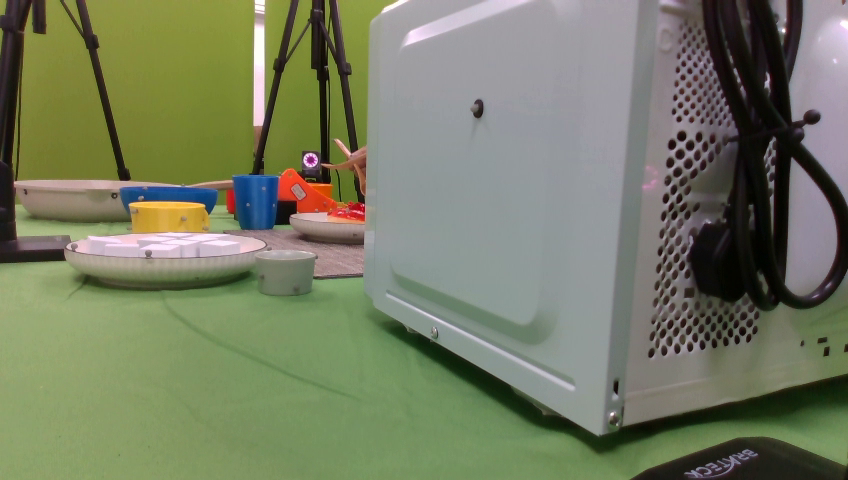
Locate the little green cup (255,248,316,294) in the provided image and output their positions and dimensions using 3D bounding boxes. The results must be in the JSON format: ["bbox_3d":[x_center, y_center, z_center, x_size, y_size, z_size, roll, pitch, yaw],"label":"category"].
[{"bbox_3d":[-0.144,0.032,0.627,0.061,0.038,0.061,4,7,0],"label":"little green cup"}]

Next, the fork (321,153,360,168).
[{"bbox_3d":[-0.091,-0.138,0.987,0.206,0.018,0.028,-8,-6,36],"label":"fork"}]

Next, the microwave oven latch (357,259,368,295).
[{"bbox_3d":[-0.019,0.031,0.529,0.079,0.029,0.030,-1,7,-26],"label":"microwave oven latch"}]

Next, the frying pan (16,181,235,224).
[{"bbox_3d":[-0.554,-0.097,1.266,0.490,0.102,0.305,-10,13,-24],"label":"frying pan"}]

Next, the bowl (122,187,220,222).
[{"bbox_3d":[-0.421,-0.046,1.012,0.151,0.077,0.151,2,7,0],"label":"bowl"}]

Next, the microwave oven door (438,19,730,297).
[{"bbox_3d":[0.181,-0.076,0.618,0.358,0.243,0.039,-2,8,-28],"label":"microwave oven door"}]

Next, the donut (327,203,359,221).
[{"bbox_3d":[-0.120,-0.038,1.055,0.099,0.048,0.099,5,7,0],"label":"donut"}]

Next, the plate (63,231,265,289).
[{"bbox_3d":[-0.288,0.021,0.687,0.208,0.039,0.207,2,8,0],"label":"plate"}]

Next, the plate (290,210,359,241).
[{"bbox_3d":[-0.127,-0.026,1.050,0.209,0.038,0.209,2,7,0],"label":"plate"}]

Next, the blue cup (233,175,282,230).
[{"bbox_3d":[-0.314,-0.071,1.141,0.093,0.100,0.092,0,7,0],"label":"blue cup"}]

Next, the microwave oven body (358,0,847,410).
[{"bbox_3d":[0.210,-0.051,0.471,0.444,0.260,0.324,-1,7,-28],"label":"microwave oven body"}]

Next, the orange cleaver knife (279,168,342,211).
[{"bbox_3d":[-0.236,-0.084,1.332,0.212,0.077,0.012,31,-9,-31],"label":"orange cleaver knife"}]

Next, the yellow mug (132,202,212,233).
[{"bbox_3d":[-0.356,-0.020,0.878,0.099,0.064,0.131,5,7,21],"label":"yellow mug"}]

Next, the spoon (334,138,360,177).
[{"bbox_3d":[-0.139,-0.152,1.249,0.042,0.021,0.193,-12,56,-35],"label":"spoon"}]
